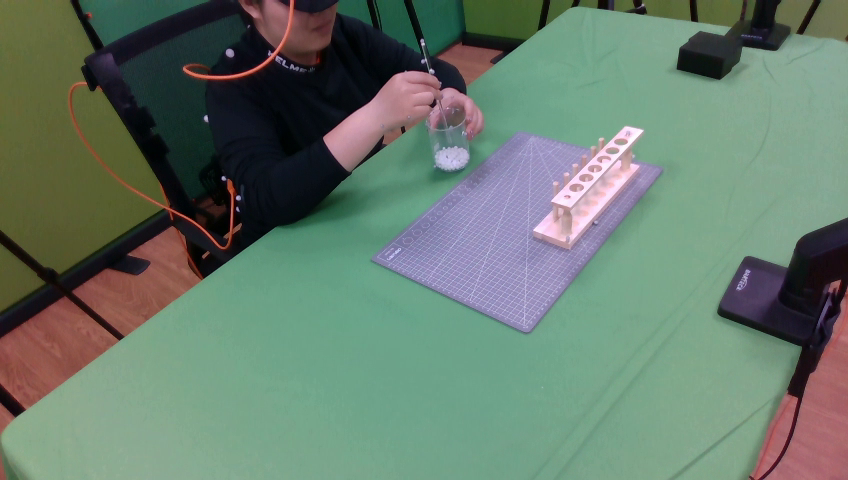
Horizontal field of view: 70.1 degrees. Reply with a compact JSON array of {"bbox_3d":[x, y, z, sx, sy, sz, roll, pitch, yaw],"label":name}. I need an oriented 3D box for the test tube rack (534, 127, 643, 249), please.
[{"bbox_3d":[0.272,-0.094,0.990,0.066,0.085,0.243,24,50,33],"label":"test tube rack"}]

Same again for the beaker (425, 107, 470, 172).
[{"bbox_3d":[0.048,-0.186,1.120,0.073,0.101,0.084,8,46,19],"label":"beaker"}]

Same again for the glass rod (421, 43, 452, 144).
[{"bbox_3d":[0.022,-0.246,1.037,0.008,0.201,0.008,-10,43,10],"label":"glass rod"}]
